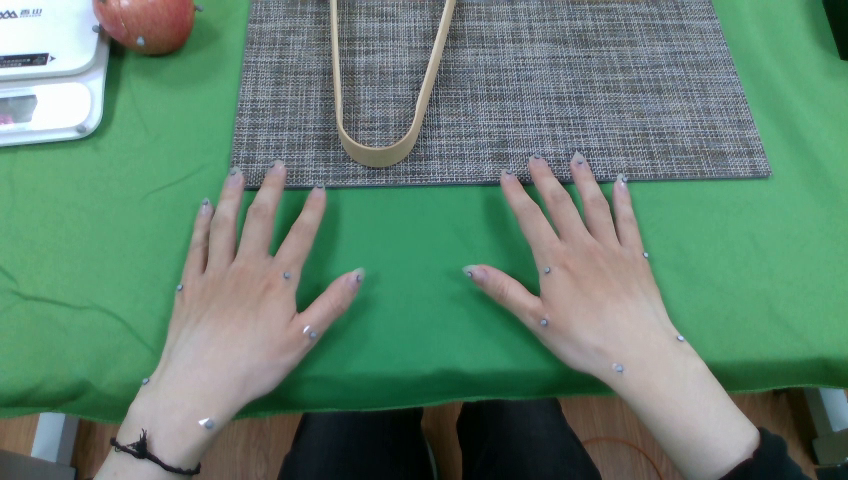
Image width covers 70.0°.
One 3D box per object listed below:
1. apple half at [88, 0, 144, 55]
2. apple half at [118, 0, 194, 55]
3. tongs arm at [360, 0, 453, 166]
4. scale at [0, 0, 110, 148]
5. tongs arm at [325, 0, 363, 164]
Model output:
[{"bbox_3d":[-0.269,-0.198,0.526,0.033,0.082,0.080,-10,63,-10],"label":"apple half"},{"bbox_3d":[-0.231,-0.205,0.532,0.053,0.075,0.080,-10,60,-9],"label":"apple half"},{"bbox_3d":[0.005,-0.232,0.572,0.051,0.027,0.382,9,64,2],"label":"tongs arm"},{"bbox_3d":[-0.355,-0.169,0.532,0.149,0.032,0.199,-6,64,-5],"label":"scale"},{"bbox_3d":[-0.080,-0.238,0.574,0.028,0.028,0.384,-2,63,-7],"label":"tongs arm"}]
